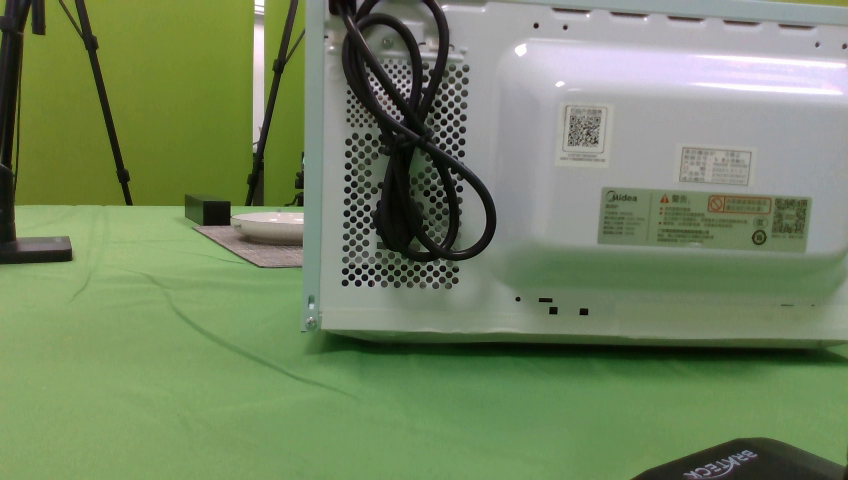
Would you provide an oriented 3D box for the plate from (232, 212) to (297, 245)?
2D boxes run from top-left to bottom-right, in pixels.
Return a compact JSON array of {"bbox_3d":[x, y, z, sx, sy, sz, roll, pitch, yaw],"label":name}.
[{"bbox_3d":[-0.214,-0.019,1.018,0.208,0.039,0.207,3,7,0],"label":"plate"}]

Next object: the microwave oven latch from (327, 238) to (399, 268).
[{"bbox_3d":[-0.069,0.015,0.694,0.079,0.029,0.030,3,7,-3],"label":"microwave oven latch"}]

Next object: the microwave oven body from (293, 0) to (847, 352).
[{"bbox_3d":[0.122,-0.055,0.550,0.442,0.260,0.325,3,7,-5],"label":"microwave oven body"}]

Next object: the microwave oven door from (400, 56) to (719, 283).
[{"bbox_3d":[0.155,-0.077,0.698,0.356,0.243,0.039,2,8,-5],"label":"microwave oven door"}]

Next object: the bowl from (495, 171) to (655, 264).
[{"bbox_3d":[0.144,-0.023,0.592,0.151,0.077,0.151,1,11,0],"label":"bowl"}]
